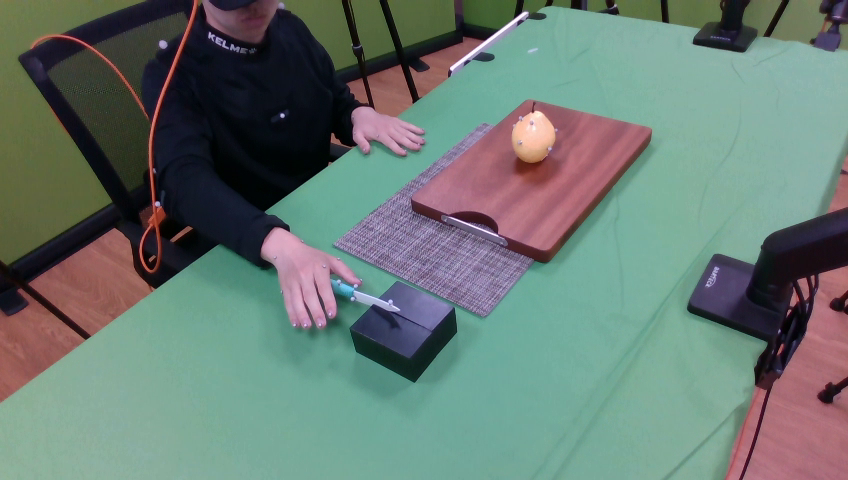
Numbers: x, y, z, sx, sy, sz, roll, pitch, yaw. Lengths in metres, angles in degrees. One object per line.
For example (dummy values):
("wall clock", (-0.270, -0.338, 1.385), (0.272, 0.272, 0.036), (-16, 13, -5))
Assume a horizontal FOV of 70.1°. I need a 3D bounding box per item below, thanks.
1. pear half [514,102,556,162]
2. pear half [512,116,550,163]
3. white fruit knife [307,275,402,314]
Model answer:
("pear half", (0.196, -0.198, 1.060), (0.076, 0.110, 0.056), (13, 44, 17))
("pear half", (0.182, -0.169, 1.043), (0.070, 0.088, 0.031), (13, 45, 18))
("white fruit knife", (-0.102, 0.076, 0.847), (0.205, 0.027, 0.016), (11, 45, 43))
